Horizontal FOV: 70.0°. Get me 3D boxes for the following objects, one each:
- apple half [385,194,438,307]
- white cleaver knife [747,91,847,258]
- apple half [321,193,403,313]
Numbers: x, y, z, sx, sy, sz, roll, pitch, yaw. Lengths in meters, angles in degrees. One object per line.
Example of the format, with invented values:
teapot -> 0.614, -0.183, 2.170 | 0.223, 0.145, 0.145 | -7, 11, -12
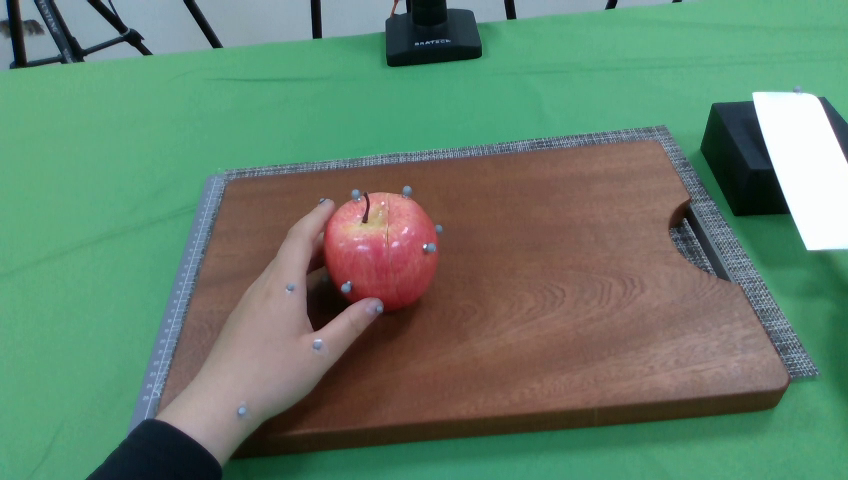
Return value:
apple half -> -0.006, 0.007, 0.426 | 0.033, 0.082, 0.080 | -9, 43, 4
white cleaver knife -> 0.309, -0.011, 0.454 | 0.066, 0.022, 0.283 | -6, 55, 9
apple half -> -0.044, 0.012, 0.428 | 0.053, 0.075, 0.080 | -8, 46, 5
